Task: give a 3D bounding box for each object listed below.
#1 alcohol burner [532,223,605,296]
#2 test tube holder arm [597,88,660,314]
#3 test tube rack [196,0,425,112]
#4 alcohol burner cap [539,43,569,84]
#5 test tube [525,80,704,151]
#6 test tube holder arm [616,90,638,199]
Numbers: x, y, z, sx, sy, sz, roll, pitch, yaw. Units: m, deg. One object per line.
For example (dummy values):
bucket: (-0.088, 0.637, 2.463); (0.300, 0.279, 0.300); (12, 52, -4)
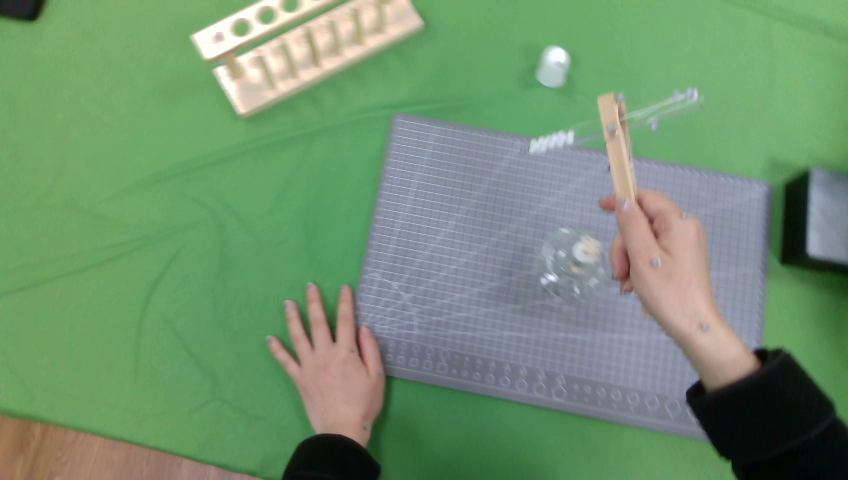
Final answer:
alcohol burner: (0.153, 0.016, 0.624); (0.078, 0.119, 0.077); (0, 76, -1)
test tube holder arm: (0.159, -0.031, 0.472); (0.013, 0.015, 0.178); (-6, 84, -46)
test tube rack: (-0.119, -0.242, 0.683); (0.242, 0.085, 0.066); (-29, 80, -7)
alcohol burner cap: (0.154, -0.209, 0.708); (0.034, 0.048, 0.033); (0, 73, 0)
test tube: (0.145, -0.096, 0.485); (0.017, 0.149, 0.017); (13, 71, -45)
test tube holder arm: (0.157, -0.075, 0.481); (0.010, 0.015, 0.087); (6, 76, -45)
